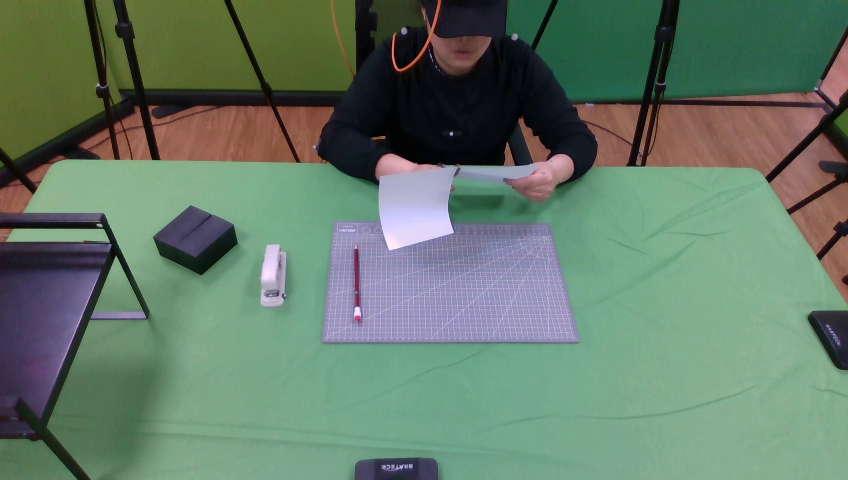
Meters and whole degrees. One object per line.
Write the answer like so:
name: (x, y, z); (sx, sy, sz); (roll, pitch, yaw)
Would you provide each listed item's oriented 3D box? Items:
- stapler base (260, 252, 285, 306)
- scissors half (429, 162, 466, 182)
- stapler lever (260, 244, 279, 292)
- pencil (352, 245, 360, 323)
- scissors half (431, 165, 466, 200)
stapler base: (-0.279, 0.064, 1.113); (0.041, 0.024, 0.129); (-2, 44, -9)
scissors half: (0.045, -0.134, 1.168); (0.013, 0.040, 0.174); (-8, 7, -21)
stapler lever: (-0.279, 0.045, 1.096); (0.027, 0.040, 0.117); (-2, 44, -9)
pencil: (-0.127, 0.076, 1.120); (0.012, 0.012, 0.192); (-2, 44, -7)
scissors half: (0.048, -0.113, 1.168); (0.013, 0.175, 0.040); (-13, 80, -20)
